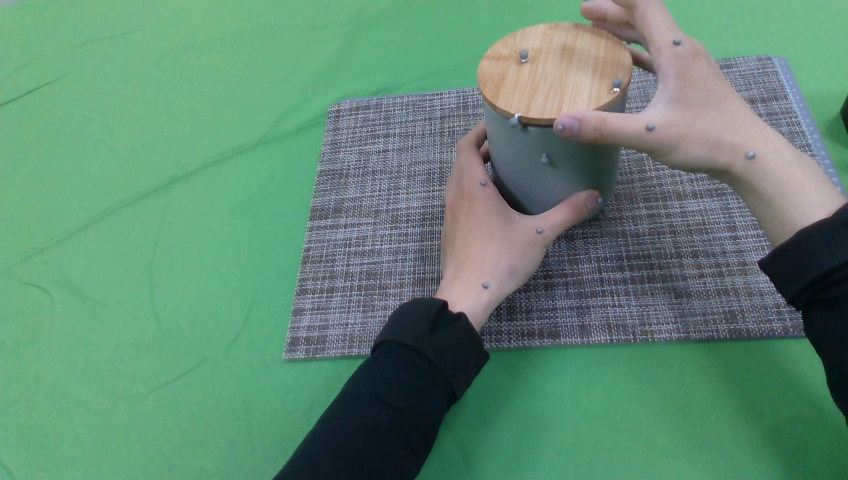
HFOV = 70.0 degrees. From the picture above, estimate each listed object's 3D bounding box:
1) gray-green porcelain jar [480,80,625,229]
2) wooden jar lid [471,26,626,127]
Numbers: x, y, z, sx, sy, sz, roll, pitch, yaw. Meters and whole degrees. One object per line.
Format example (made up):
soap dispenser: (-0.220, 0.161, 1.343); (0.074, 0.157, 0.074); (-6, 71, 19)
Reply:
gray-green porcelain jar: (0.102, -0.079, 0.488); (0.106, 0.128, 0.105); (-5, 53, 8)
wooden jar lid: (0.089, -0.116, 0.437); (0.108, 0.021, 0.107); (-5, 53, 7)
